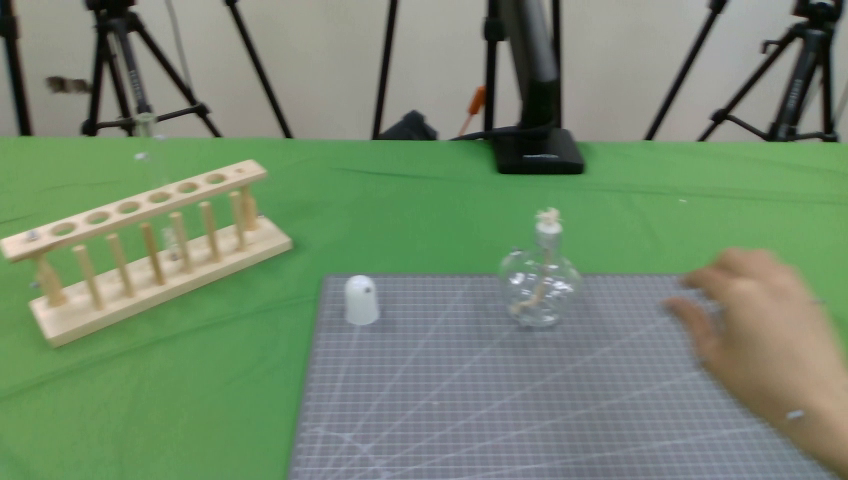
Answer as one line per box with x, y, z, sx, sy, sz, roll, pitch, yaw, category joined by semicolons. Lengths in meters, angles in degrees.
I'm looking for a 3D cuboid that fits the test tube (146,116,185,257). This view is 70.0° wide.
-0.251;-0.048;0.593;0.017;0.151;0.017;3;31;-1;test tube

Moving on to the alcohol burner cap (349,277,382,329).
-0.056;0.057;0.572;0.034;0.048;0.033;1;37;-1;alcohol burner cap

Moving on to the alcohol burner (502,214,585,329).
0.113;0.024;0.561;0.078;0.120;0.077;2;38;-1;alcohol burner

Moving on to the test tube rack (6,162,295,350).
-0.255;0.007;0.601;0.243;0.086;0.066;-25;43;-32;test tube rack
